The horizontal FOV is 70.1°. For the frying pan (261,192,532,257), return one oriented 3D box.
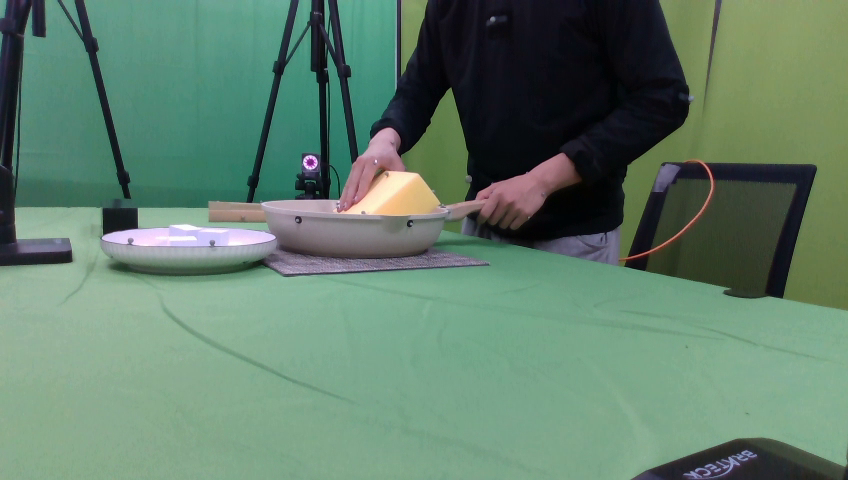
[{"bbox_3d":[-0.017,-0.043,1.006,0.490,0.102,0.305,-11,13,-26],"label":"frying pan"}]

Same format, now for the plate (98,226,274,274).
[{"bbox_3d":[-0.301,0.012,0.778,0.208,0.039,0.207,3,7,0],"label":"plate"}]

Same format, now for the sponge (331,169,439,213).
[{"bbox_3d":[-0.071,-0.054,0.985,0.118,0.061,0.206,-42,19,-10],"label":"sponge"}]

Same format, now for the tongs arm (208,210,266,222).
[{"bbox_3d":[-0.280,-0.055,1.355,0.389,0.028,0.028,-1,6,-28],"label":"tongs arm"}]

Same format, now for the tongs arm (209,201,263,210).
[{"bbox_3d":[-0.306,-0.070,1.429,0.386,0.026,0.050,1,9,-15],"label":"tongs arm"}]
